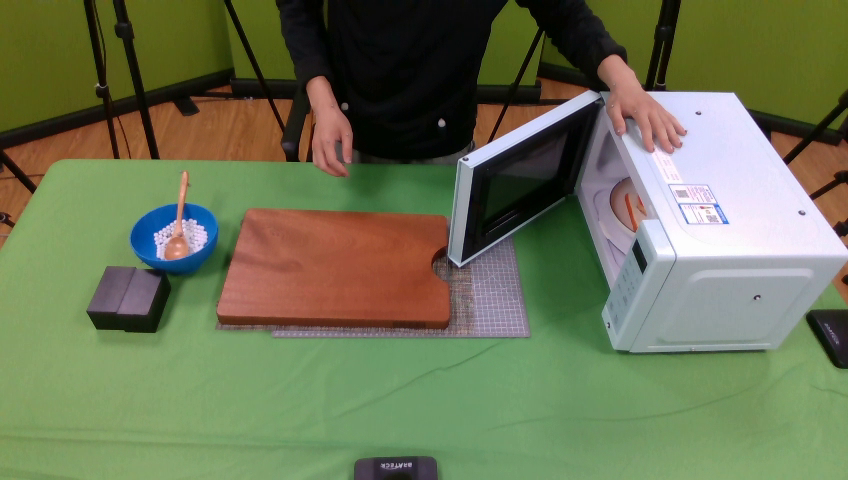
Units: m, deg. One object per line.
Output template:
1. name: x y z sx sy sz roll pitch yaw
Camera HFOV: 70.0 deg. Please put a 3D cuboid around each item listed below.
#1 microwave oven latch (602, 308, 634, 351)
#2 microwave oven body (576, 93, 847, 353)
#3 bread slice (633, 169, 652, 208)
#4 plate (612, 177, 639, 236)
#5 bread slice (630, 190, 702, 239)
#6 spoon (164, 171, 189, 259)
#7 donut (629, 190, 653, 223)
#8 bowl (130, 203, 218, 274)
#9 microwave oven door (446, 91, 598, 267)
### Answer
1. microwave oven latch: 0.332 0.153 1.044 0.030 0.029 0.078 -1 45 -4
2. microwave oven body: 0.475 -0.041 1.110 0.326 0.261 0.438 -1 45 -4
3. bread slice: 0.463 -0.088 1.136 0.134 0.018 0.106 8 43 -12
4. plate: 0.472 -0.051 1.187 0.208 0.039 0.206 -1 45 1
5. bread slice: 0.478 -0.051 1.189 0.131 0.019 0.104 17 46 13
6. spoon: -0.452 -0.046 1.129 0.041 0.022 0.193 -1 69 -3
7. donut: 0.443 -0.059 1.163 0.099 0.048 0.098 1 50 -1
8. bowl: -0.451 0.009 1.117 0.151 0.077 0.150 3 45 -2
9. microwave oven door: 0.191 -0.120 1.157 0.356 0.245 0.039 -31 55 -30
